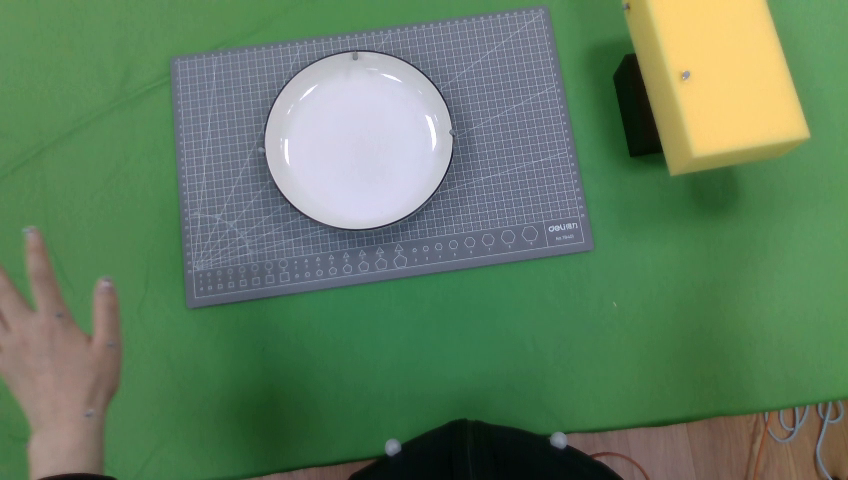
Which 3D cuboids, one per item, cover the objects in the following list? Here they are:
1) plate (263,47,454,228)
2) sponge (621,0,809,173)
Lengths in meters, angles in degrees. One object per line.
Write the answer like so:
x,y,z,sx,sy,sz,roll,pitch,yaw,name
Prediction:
-0.071,-0.111,0.674,0.209,0.038,0.208,0,79,1,plate
0.292,-0.183,0.622,0.118,0.061,0.206,-12,79,-1,sponge
